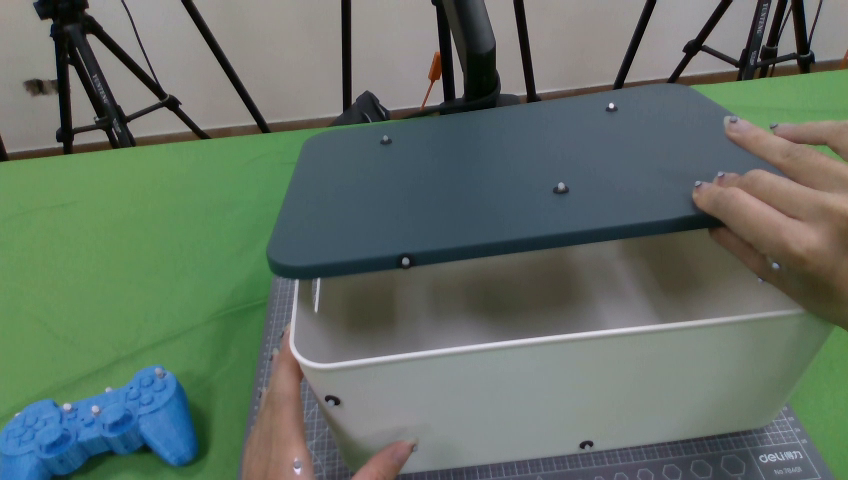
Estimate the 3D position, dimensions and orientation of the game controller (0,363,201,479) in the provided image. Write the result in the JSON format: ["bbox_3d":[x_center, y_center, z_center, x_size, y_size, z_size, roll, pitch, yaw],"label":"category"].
[{"bbox_3d":[-0.271,0.158,0.504,0.155,0.052,0.096,-16,38,-12],"label":"game controller"}]

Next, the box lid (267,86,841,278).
[{"bbox_3d":[0.074,-0.061,0.477,0.372,0.015,0.261,-8,28,0],"label":"box lid"}]

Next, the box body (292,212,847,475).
[{"bbox_3d":[0.095,0.035,0.508,0.364,0.162,0.251,-7,41,-1],"label":"box body"}]
